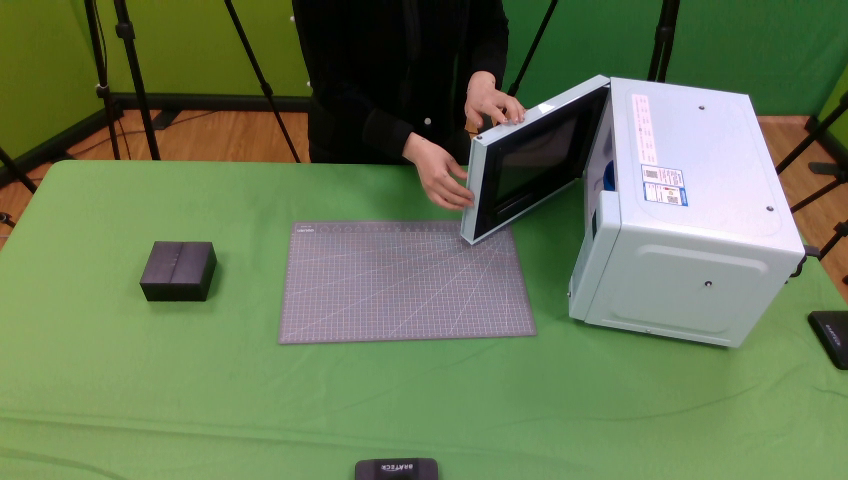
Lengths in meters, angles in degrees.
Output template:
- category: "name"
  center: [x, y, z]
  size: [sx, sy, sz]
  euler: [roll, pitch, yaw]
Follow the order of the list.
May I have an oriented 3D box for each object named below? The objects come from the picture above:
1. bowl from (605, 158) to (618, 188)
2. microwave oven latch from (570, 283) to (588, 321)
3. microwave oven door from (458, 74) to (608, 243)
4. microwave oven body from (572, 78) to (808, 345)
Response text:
- category: "bowl"
  center: [0.422, -0.094, 1.195]
  size: [0.151, 0.077, 0.150]
  euler: [4, 48, -4]
- category: "microwave oven latch"
  center: [0.276, 0.105, 1.082]
  size: [0.030, 0.029, 0.079]
  euler: [10, 45, 6]
- category: "microwave oven door"
  center: [0.218, -0.164, 1.196]
  size: [0.356, 0.245, 0.039]
  euler: [-31, 56, -29]
- category: "microwave oven body"
  center: [0.455, -0.063, 1.124]
  size: [0.326, 0.261, 0.439]
  euler: [8, 45, 5]
